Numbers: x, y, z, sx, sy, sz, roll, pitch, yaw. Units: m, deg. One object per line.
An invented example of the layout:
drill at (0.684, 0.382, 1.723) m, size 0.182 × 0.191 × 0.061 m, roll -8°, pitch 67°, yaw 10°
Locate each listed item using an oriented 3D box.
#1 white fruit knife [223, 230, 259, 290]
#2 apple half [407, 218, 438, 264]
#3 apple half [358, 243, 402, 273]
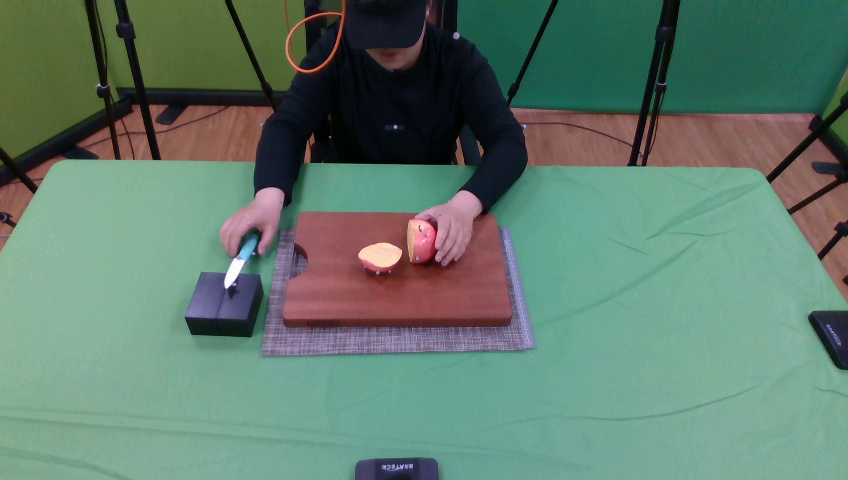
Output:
white fruit knife at (-0.333, 0.034, 1.106) m, size 0.027 × 0.016 × 0.206 m, roll 1°, pitch 29°, yaw -2°
apple half at (-0.001, 0.003, 1.120) m, size 0.053 × 0.075 × 0.080 m, roll -1°, pitch 42°, yaw -11°
apple half at (-0.078, 0.038, 1.110) m, size 0.081 × 0.033 × 0.081 m, roll 1°, pitch 30°, yaw 0°
